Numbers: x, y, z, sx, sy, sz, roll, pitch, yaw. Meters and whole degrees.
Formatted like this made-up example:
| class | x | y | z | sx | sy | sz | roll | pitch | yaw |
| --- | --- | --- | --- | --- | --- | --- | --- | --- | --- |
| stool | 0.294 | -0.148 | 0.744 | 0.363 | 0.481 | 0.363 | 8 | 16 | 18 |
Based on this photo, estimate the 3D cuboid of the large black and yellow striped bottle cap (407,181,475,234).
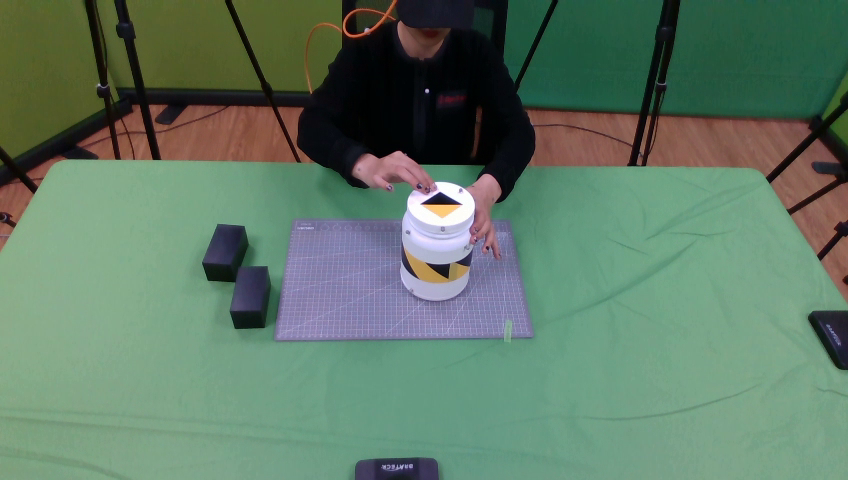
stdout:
| class | x | y | z | sx | sy | sz | roll | pitch | yaw |
| --- | --- | --- | --- | --- | --- | --- | --- | --- | --- |
| large black and yellow striped bottle cap | 0.029 | -0.057 | 1.015 | 0.115 | 0.019 | 0.114 | 1 | 46 | -1 |

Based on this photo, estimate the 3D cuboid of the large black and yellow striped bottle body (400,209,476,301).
| class | x | y | z | sx | sy | sz | roll | pitch | yaw |
| --- | --- | --- | --- | --- | --- | --- | --- | --- | --- |
| large black and yellow striped bottle body | 0.024 | 0.005 | 1.077 | 0.131 | 0.185 | 0.130 | 2 | 46 | -2 |
